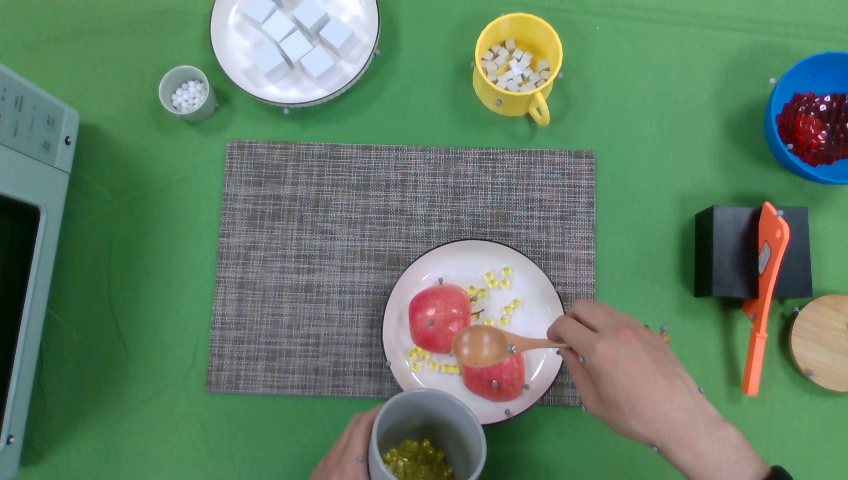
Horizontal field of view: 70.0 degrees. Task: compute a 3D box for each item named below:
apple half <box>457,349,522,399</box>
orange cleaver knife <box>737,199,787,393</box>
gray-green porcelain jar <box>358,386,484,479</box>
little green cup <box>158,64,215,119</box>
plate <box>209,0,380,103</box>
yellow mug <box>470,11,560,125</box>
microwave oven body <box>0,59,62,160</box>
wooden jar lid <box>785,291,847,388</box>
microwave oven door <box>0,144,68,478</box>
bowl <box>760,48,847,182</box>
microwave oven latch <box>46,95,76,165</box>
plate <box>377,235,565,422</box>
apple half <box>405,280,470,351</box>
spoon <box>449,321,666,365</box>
[{"bbox_3d":[0.074,0.139,0.675,0.081,0.033,0.081,0,78,2],"label":"apple half"},{"bbox_3d":[0.363,0.063,0.666,0.012,0.077,0.212,3,106,5],"label":"orange cleaver knife"},{"bbox_3d":[-0.008,0.220,0.583,0.106,0.127,0.105,8,42,-7],"label":"gray-green porcelain jar"},{"bbox_3d":[-0.287,-0.178,0.738,0.061,0.039,0.061,0,83,1],"label":"little green cup"},{"bbox_3d":[-0.156,-0.265,0.749,0.207,0.039,0.207,0,82,2],"label":"plate"},{"bbox_3d":[0.113,-0.196,0.717,0.100,0.064,0.130,-27,83,-2],"label":"yellow mug"},{"bbox_3d":[-0.606,0.016,0.606,0.326,0.261,0.440,5,83,2],"label":"microwave oven body"},{"bbox_3d":[0.463,0.112,0.687,0.108,0.021,0.108,0,82,3],"label":"wooden jar lid"},{"bbox_3d":[-0.465,0.071,0.590,0.039,0.244,0.354,5,82,3],"label":"microwave oven door"},{"bbox_3d":[0.449,-0.131,0.692,0.151,0.077,0.151,0,82,2],"label":"bowl"},{"bbox_3d":[-0.439,-0.131,0.719,0.030,0.029,0.079,9,83,2],"label":"microwave oven latch"},{"bbox_3d":[0.052,0.099,0.688,0.209,0.038,0.208,0,83,2],"label":"plate"},{"bbox_3d":[0.015,0.084,0.676,0.074,0.053,0.080,-1,83,4],"label":"apple half"},{"bbox_3d":[0.115,0.091,0.546,0.193,0.022,0.041,-6,75,24],"label":"spoon"}]
